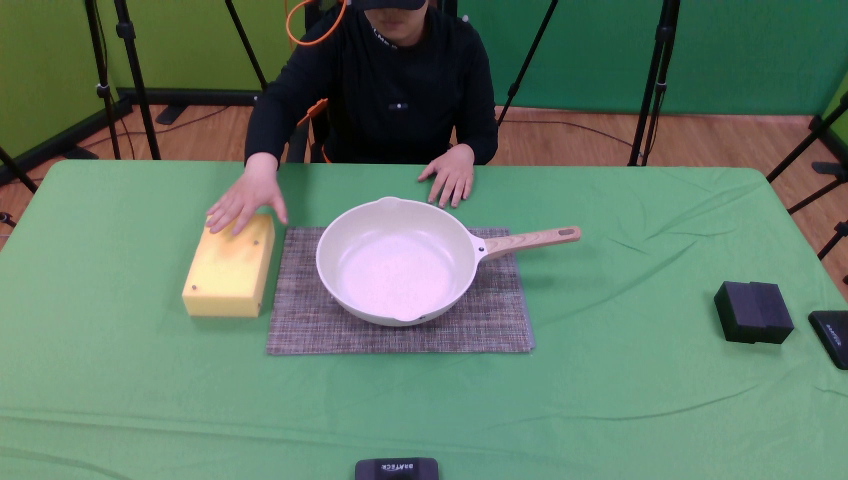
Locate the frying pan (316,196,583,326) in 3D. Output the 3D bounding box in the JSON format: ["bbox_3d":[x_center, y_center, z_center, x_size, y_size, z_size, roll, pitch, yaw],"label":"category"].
[{"bbox_3d":[0.054,0.027,1.114,0.488,0.103,0.304,-9,48,-1],"label":"frying pan"}]

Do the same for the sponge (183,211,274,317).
[{"bbox_3d":[-0.351,0.040,1.107,0.118,0.061,0.205,1,46,-3],"label":"sponge"}]
